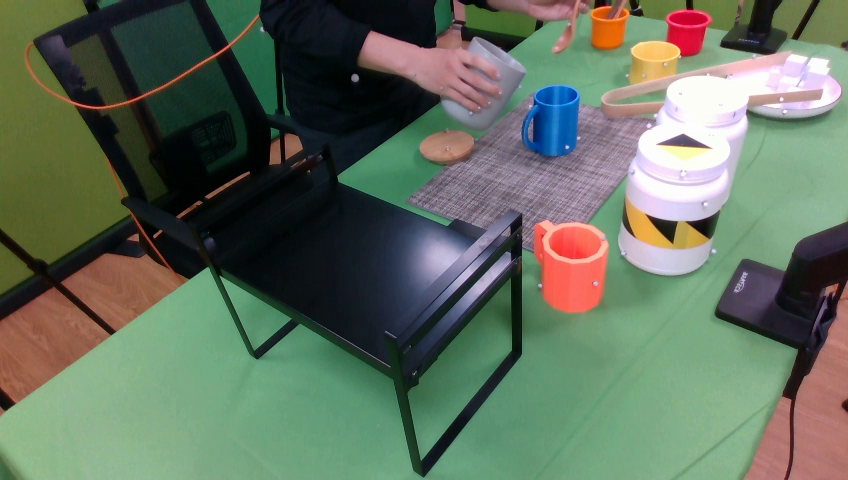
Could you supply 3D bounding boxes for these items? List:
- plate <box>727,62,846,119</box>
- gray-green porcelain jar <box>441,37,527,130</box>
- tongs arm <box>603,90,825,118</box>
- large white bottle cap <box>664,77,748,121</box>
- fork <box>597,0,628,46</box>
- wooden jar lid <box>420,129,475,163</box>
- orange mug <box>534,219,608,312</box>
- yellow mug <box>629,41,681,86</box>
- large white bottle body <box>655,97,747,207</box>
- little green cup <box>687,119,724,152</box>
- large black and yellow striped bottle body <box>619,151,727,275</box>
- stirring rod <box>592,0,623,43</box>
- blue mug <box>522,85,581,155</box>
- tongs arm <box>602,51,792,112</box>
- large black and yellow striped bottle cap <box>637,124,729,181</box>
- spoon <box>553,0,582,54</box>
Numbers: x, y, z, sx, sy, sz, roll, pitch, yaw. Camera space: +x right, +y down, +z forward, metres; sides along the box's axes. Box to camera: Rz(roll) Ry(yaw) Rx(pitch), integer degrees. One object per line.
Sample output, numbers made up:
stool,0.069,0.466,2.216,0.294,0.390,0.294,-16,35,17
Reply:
plate,0.709,-0.292,1.197,0.207,0.039,0.206,-4,40,4
gray-green porcelain jar,0.098,-0.262,1.033,0.106,0.126,0.105,27,27,-14
tongs arm,0.546,-0.262,1.163,0.386,0.028,0.028,-1,49,18
large white bottle cap,0.421,-0.212,0.905,0.115,0.018,0.114,-4,40,4
fork,0.479,-0.558,1.455,0.028,0.019,0.207,35,100,38
wooden jar lid,0.047,-0.183,1.183,0.108,0.021,0.108,-6,37,5
orange mug,0.200,0.027,0.858,0.084,0.101,0.125,-24,48,-18
yellow mug,0.495,-0.389,1.321,0.100,0.064,0.130,-14,40,-6
large white bottle body,0.431,-0.148,0.959,0.130,0.185,0.130,-4,41,4
little green cup,0.514,-0.191,1.109,0.061,0.039,0.061,-5,40,5
large black and yellow striped bottle body,0.354,-0.056,0.865,0.131,0.185,0.130,-4,41,4
stirring rod,0.460,-0.557,1.461,0.014,0.176,0.006,35,11,22
blue mug,0.233,-0.218,1.127,0.117,0.106,0.081,-23,43,-16
tongs arm,0.552,-0.320,1.224,0.384,0.027,0.050,-10,43,7
large black and yellow striped bottle cap,0.346,-0.119,0.810,0.115,0.019,0.114,-5,41,5
spoon,0.288,-0.435,1.122,0.022,0.193,0.041,17,10,-24
